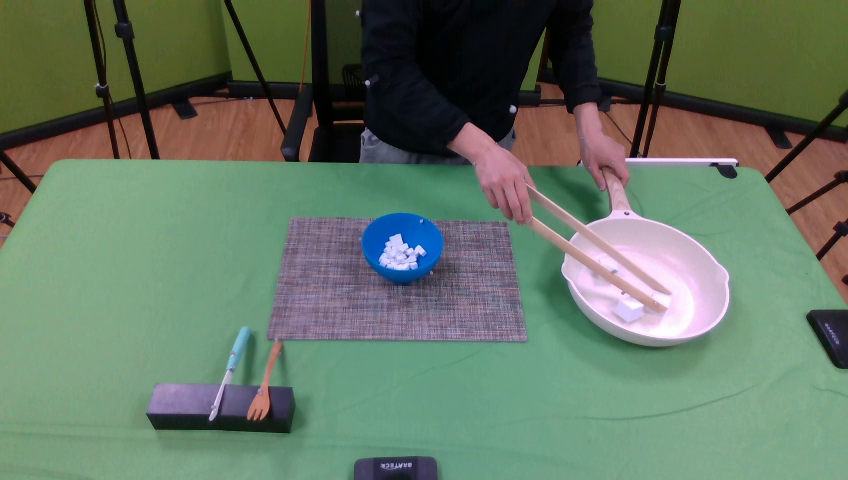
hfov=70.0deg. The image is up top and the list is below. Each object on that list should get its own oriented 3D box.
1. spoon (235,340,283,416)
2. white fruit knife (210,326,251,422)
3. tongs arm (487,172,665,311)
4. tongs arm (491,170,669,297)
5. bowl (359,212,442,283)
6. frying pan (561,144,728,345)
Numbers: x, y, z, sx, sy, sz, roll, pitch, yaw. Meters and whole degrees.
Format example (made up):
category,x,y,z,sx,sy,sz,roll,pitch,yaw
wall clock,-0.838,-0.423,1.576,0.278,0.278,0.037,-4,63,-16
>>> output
category,x,y,z,sx,sy,sz,roll,pitch,yaw
spoon,-0.245,0.207,0.932,0.042,0.022,0.193,30,24,-9
white fruit knife,-0.300,0.201,0.942,0.016,0.027,0.206,-3,32,1
tongs arm,0.274,0.005,1.090,0.385,0.026,0.050,32,57,-4
tongs arm,0.285,-0.011,1.104,0.388,0.028,0.028,36,60,-2
bowl,-0.044,0.026,1.125,0.151,0.077,0.150,2,46,-2
frying pan,0.397,-0.008,1.179,0.307,0.103,0.485,2,55,-4
